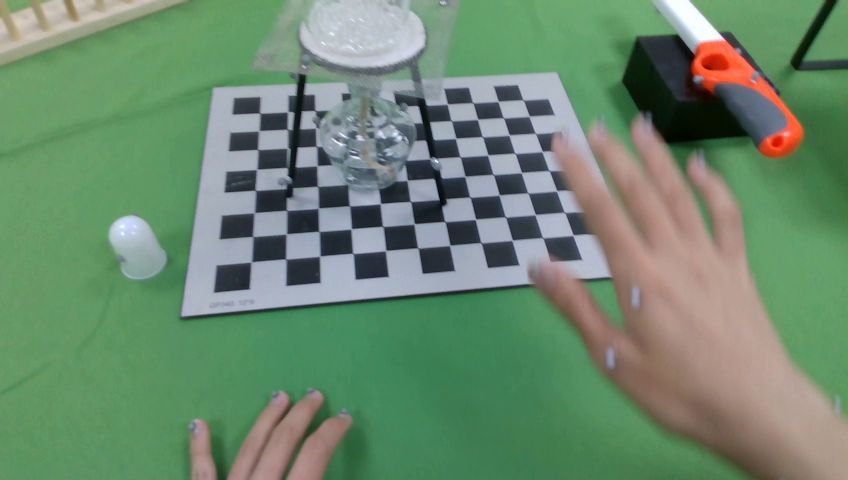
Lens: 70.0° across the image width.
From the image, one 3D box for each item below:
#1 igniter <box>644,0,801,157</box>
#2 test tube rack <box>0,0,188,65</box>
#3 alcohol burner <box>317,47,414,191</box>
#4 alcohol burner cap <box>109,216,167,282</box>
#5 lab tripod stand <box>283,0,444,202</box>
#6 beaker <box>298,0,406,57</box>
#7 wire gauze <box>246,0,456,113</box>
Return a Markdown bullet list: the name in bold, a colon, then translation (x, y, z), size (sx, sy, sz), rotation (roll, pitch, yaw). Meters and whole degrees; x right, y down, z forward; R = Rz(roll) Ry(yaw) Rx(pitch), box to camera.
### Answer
- **igniter**: translation (0.261, -0.169, 0.554), size (0.057, 0.025, 0.273), rotation (-7, 49, -5)
- **test tube rack**: translation (-0.364, -0.265, 0.617), size (0.242, 0.086, 0.066), rotation (-34, 60, -27)
- **alcohol burner**: translation (-0.047, -0.097, 0.477), size (0.078, 0.120, 0.077), rotation (0, 51, 0)
- **alcohol burner cap**: translation (-0.209, 0.004, 0.436), size (0.034, 0.048, 0.033), rotation (2, 51, -2)
- **lab tripod stand**: translation (-0.043, -0.102, 0.468), size (0.148, 0.132, 0.147), rotation (3, 50, -3)
- **beaker**: translation (-0.046, -0.173, 0.377), size (0.074, 0.101, 0.083), rotation (2, 51, -3)
- **wire gauze**: translation (-0.044, -0.141, 0.416), size (0.125, 0.011, 0.120), rotation (12, 53, 1)
